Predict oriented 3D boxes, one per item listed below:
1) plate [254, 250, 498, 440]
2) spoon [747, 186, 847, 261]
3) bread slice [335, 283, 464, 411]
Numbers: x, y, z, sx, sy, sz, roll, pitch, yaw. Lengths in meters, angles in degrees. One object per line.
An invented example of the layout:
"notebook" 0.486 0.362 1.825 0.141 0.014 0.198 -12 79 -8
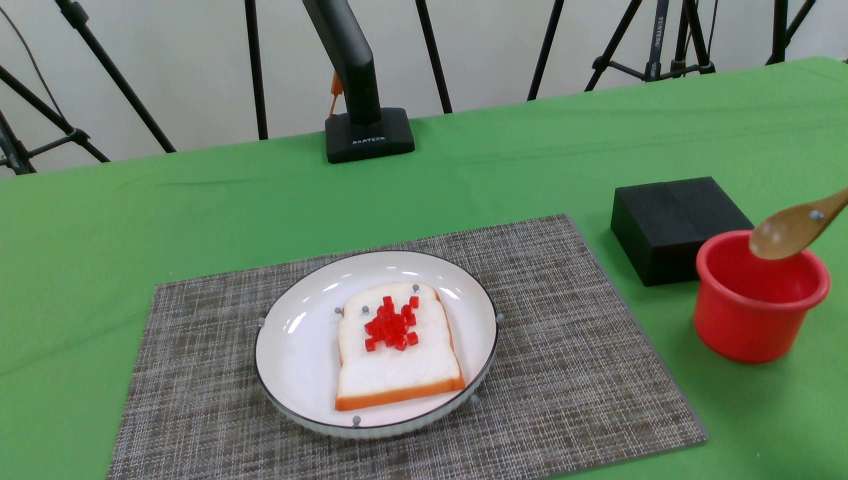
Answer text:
"plate" -0.040 0.088 0.529 0.209 0.038 0.207 -4 38 3
"spoon" 0.284 -0.036 0.382 0.022 0.194 0.041 19 60 -8
"bread slice" -0.028 0.087 0.531 0.105 0.019 0.130 -8 39 -4
